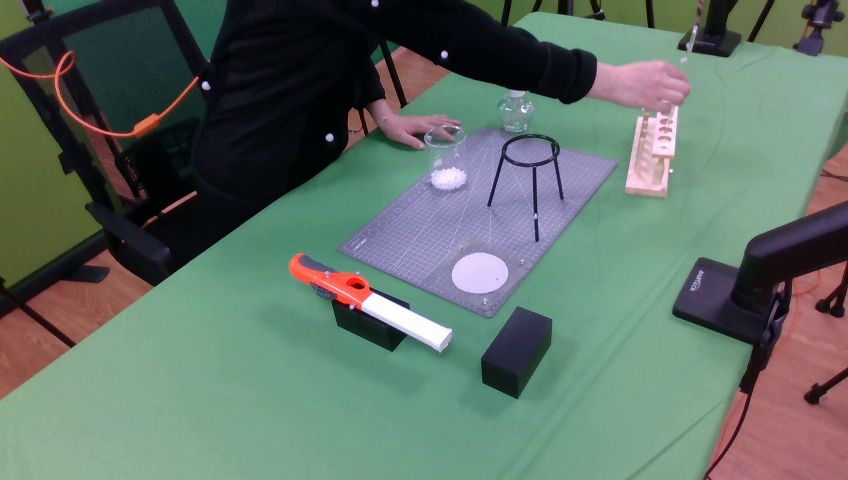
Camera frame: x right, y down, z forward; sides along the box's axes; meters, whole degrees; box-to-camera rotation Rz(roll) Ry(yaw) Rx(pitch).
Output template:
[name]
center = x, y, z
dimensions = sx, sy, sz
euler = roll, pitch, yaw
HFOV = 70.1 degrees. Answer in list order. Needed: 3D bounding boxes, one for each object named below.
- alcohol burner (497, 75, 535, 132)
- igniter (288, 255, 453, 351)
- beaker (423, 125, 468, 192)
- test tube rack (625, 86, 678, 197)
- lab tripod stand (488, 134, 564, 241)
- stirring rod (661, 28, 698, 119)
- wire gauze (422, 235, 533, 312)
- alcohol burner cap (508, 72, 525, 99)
[alcohol burner]
center = 0.184, -0.278, 1.210
dimensions = 0.078, 0.119, 0.077
euler = -3, 43, 3
[igniter]
center = -0.083, 0.079, 0.818
dimensions = 0.274, 0.025, 0.057
euler = 22, 46, 27
[beaker]
center = 0.042, -0.144, 1.078
dimensions = 0.073, 0.100, 0.084
euler = 28, 51, 34
[test tube rack]
center = 0.412, -0.184, 1.088
dimensions = 0.066, 0.085, 0.242
euler = 9, 43, 18
[lab tripod stand]
center = 0.168, -0.092, 0.972
dimensions = 0.148, 0.132, 0.147
euler = -5, 41, 5
[stirring rod]
center = 0.406, -0.260, 0.965
dimensions = 0.014, 0.177, 0.006
euler = -20, 55, -10
[wire gauze]
center = 0.082, 0.049, 0.914
dimensions = 0.120, 0.011, 0.125
euler = 26, 53, 32
[alcohol burner cap]
center = 0.181, -0.306, 1.186
dimensions = 0.034, 0.048, 0.033
euler = -7, 39, 6
